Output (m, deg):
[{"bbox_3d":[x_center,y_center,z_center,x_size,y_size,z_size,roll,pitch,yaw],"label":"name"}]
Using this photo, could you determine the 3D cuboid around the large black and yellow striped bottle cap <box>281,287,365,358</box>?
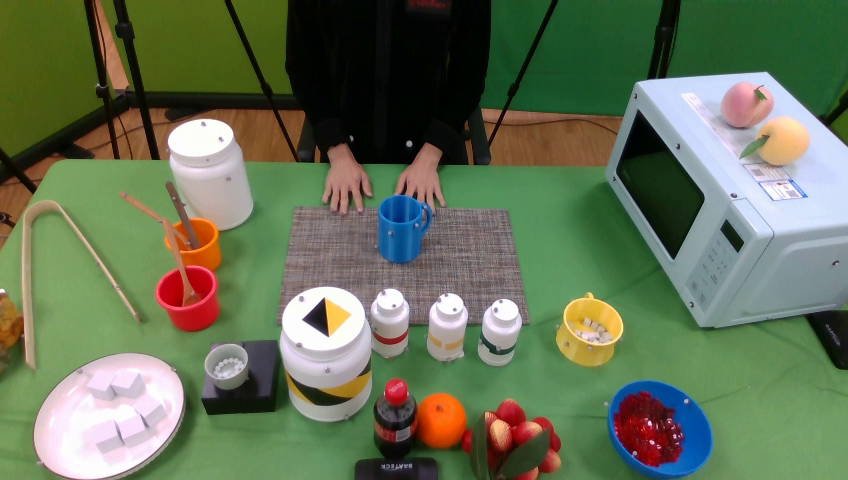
[{"bbox_3d":[-0.141,0.113,0.847,0.115,0.019,0.114,5,45,-4],"label":"large black and yellow striped bottle cap"}]

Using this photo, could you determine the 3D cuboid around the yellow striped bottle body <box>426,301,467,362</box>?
[{"bbox_3d":[0.037,0.142,0.996,0.063,0.121,0.062,2,47,-2],"label":"yellow striped bottle body"}]

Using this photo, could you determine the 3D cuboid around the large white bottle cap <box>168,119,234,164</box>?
[{"bbox_3d":[-0.407,-0.181,1.108,0.115,0.018,0.114,2,47,-2],"label":"large white bottle cap"}]

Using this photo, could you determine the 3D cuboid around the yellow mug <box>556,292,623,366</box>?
[{"bbox_3d":[0.285,0.145,1.051,0.100,0.064,0.130,7,45,3],"label":"yellow mug"}]

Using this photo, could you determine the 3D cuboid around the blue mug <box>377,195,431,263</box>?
[{"bbox_3d":[-0.035,-0.027,1.159,0.116,0.106,0.082,-24,53,-25],"label":"blue mug"}]

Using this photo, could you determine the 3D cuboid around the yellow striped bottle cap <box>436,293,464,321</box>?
[{"bbox_3d":[0.041,0.106,0.959,0.044,0.019,0.044,-1,49,1],"label":"yellow striped bottle cap"}]

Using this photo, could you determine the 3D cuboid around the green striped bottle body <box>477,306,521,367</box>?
[{"bbox_3d":[0.124,0.151,0.995,0.063,0.120,0.063,2,46,-2],"label":"green striped bottle body"}]

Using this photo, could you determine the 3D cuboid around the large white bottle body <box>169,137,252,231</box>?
[{"bbox_3d":[-0.411,-0.123,1.169,0.131,0.185,0.130,2,46,-2],"label":"large white bottle body"}]

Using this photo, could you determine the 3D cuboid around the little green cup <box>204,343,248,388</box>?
[{"bbox_3d":[-0.294,0.190,0.909,0.061,0.039,0.061,1,48,-1],"label":"little green cup"}]

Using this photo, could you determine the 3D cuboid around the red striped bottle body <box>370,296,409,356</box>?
[{"bbox_3d":[-0.058,0.134,0.997,0.063,0.120,0.062,4,47,-4],"label":"red striped bottle body"}]

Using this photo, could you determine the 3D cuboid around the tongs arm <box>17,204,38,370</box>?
[{"bbox_3d":[-0.698,0.069,1.068,0.028,0.028,0.385,-20,50,-13],"label":"tongs arm"}]

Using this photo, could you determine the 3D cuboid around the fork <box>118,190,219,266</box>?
[{"bbox_3d":[-0.459,-0.020,1.092,0.208,0.018,0.028,44,44,-24],"label":"fork"}]

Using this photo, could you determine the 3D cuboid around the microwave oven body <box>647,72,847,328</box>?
[{"bbox_3d":[0.607,-0.089,1.164,0.326,0.261,0.438,-7,46,-10],"label":"microwave oven body"}]

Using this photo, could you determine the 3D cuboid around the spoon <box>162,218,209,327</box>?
[{"bbox_3d":[-0.410,0.054,1.029,0.041,0.021,0.194,-17,94,-16],"label":"spoon"}]

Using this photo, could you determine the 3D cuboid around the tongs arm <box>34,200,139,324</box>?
[{"bbox_3d":[-0.622,0.034,1.105,0.051,0.026,0.382,-32,55,-26],"label":"tongs arm"}]

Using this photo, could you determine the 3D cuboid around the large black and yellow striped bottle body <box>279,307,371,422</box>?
[{"bbox_3d":[-0.145,0.173,0.907,0.131,0.185,0.130,2,46,-2],"label":"large black and yellow striped bottle body"}]

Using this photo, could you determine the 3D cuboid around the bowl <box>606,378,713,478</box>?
[{"bbox_3d":[0.340,0.292,0.906,0.151,0.077,0.150,2,46,-2],"label":"bowl"}]

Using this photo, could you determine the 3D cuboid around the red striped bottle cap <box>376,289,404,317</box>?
[{"bbox_3d":[-0.054,0.098,0.958,0.044,0.018,0.044,0,48,1],"label":"red striped bottle cap"}]

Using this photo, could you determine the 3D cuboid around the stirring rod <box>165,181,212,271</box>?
[{"bbox_3d":[-0.430,-0.025,1.107,0.014,0.006,0.176,-25,94,-20],"label":"stirring rod"}]

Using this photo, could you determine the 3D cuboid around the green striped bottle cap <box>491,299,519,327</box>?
[{"bbox_3d":[0.128,0.115,0.958,0.044,0.020,0.044,1,47,-1],"label":"green striped bottle cap"}]

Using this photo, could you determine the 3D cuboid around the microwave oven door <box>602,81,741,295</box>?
[{"bbox_3d":[0.456,-0.107,1.162,0.039,0.245,0.353,-6,47,-11],"label":"microwave oven door"}]

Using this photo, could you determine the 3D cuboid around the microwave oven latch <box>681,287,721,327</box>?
[{"bbox_3d":[0.494,0.120,1.087,0.030,0.029,0.078,-6,46,-9],"label":"microwave oven latch"}]

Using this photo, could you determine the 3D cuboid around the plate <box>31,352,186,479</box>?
[{"bbox_3d":[-0.459,0.262,0.898,0.209,0.038,0.208,2,45,-2],"label":"plate"}]
